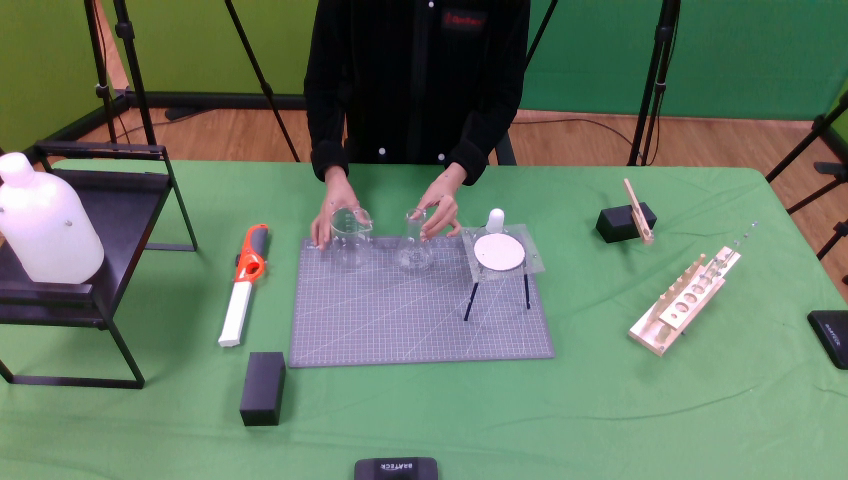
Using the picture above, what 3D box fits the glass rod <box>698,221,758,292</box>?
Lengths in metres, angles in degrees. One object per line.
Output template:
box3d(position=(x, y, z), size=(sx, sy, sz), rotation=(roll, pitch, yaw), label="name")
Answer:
box3d(position=(0.527, 0.035, 1.059), size=(0.008, 0.200, 0.008), rotation=(5, 49, -6), label="glass rod")

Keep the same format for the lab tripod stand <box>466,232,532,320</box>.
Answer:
box3d(position=(0.125, 0.059, 1.065), size=(0.148, 0.132, 0.147), rotation=(1, 45, 0), label="lab tripod stand")

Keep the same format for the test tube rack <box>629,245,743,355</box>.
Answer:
box3d(position=(0.474, 0.095, 1.091), size=(0.242, 0.085, 0.066), rotation=(-34, 56, -31), label="test tube rack")

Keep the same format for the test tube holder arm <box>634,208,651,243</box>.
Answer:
box3d(position=(0.428, -0.030, 1.189), size=(0.010, 0.015, 0.087), rotation=(1, 47, -2), label="test tube holder arm")

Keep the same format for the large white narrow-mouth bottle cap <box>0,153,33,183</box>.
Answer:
box3d(position=(-0.510, -0.090, 0.754), size=(0.038, 0.024, 0.037), rotation=(2, 46, -2), label="large white narrow-mouth bottle cap")

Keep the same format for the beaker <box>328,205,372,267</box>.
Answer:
box3d(position=(-0.135, -0.004, 1.132), size=(0.084, 0.101, 0.073), rotation=(18, 48, 12), label="beaker")

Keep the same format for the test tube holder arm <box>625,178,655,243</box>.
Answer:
box3d(position=(0.433, -0.062, 1.220), size=(0.013, 0.015, 0.177), rotation=(0, 47, -3), label="test tube holder arm")

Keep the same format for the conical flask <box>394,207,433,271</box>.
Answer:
box3d(position=(-0.017, -0.005, 1.125), size=(0.075, 0.122, 0.075), rotation=(2, 47, -2), label="conical flask")

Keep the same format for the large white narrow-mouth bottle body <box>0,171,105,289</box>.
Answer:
box3d(position=(-0.513, -0.029, 0.818), size=(0.102, 0.195, 0.101), rotation=(2, 46, -2), label="large white narrow-mouth bottle body")

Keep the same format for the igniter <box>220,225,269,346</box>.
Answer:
box3d(position=(-0.323, 0.072, 1.100), size=(0.057, 0.025, 0.275), rotation=(-6, 46, 5), label="igniter")

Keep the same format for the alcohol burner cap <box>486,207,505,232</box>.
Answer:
box3d(position=(0.135, -0.039, 1.125), size=(0.034, 0.048, 0.033), rotation=(4, 42, -4), label="alcohol burner cap")

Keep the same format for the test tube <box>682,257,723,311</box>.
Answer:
box3d(position=(0.475, 0.080, 1.037), size=(0.017, 0.151, 0.017), rotation=(1, 50, -1), label="test tube")

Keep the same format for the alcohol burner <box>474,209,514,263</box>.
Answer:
box3d(position=(0.134, -0.013, 1.150), size=(0.078, 0.120, 0.077), rotation=(0, 47, 0), label="alcohol burner")

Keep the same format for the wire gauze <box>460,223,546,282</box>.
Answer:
box3d(position=(0.131, 0.016, 1.015), size=(0.121, 0.011, 0.124), rotation=(-5, 45, -8), label="wire gauze")
